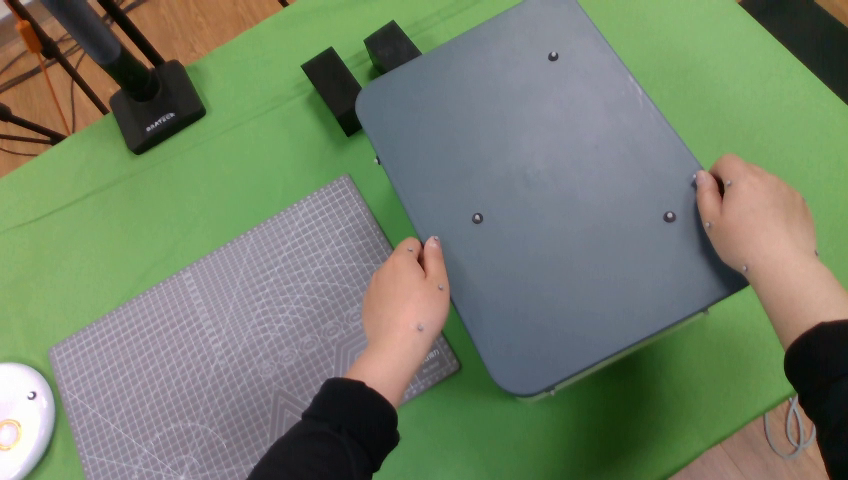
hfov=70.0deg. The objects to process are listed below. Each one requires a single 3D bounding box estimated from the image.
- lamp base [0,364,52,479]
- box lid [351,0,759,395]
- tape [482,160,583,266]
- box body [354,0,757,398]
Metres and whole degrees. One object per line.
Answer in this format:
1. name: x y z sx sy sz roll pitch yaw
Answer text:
1. lamp base: -0.560 0.205 0.679 0.178 0.182 0.159 5 71 15
2. box lid: 0.106 -0.068 0.587 0.263 0.015 0.368 -28 68 -1
3. tape: 0.125 -0.032 0.705 0.117 0.053 0.116 -3 69 9
4. box body: 0.119 -0.039 0.655 0.254 0.161 0.361 -28 68 -1
